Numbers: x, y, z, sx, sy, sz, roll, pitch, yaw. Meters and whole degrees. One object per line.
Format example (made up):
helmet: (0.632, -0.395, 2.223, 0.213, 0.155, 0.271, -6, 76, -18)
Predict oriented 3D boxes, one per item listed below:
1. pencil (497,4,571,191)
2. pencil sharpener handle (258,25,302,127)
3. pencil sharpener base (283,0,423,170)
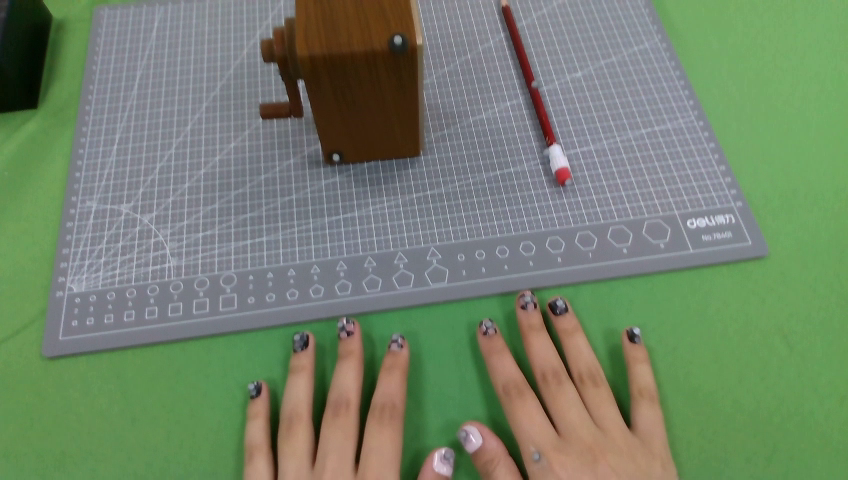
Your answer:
pencil: (0.078, -0.115, 0.455, 0.012, 0.012, 0.192, -8, 60, -5)
pencil sharpener handle: (-0.093, -0.097, 0.372, 0.031, 0.068, 0.035, -7, 51, -3)
pencil sharpener base: (-0.042, -0.100, 0.388, 0.077, 0.108, 0.061, -7, 61, -4)
